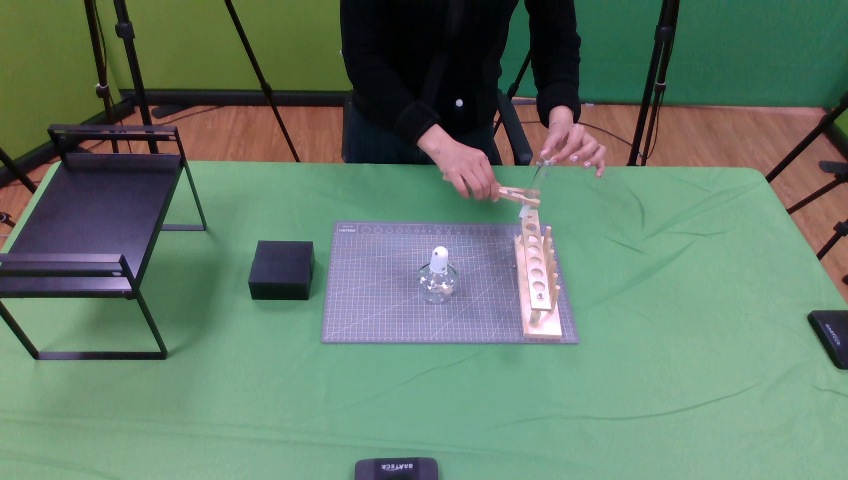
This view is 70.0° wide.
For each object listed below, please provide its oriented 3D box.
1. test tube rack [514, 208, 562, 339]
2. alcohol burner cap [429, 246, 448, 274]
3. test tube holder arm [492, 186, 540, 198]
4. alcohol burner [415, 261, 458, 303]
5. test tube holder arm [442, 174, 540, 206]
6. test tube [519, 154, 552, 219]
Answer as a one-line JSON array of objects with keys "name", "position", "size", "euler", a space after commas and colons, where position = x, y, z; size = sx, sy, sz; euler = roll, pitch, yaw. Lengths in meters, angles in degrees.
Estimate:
[{"name": "test tube rack", "position": [0.212, 0.056, 1.113], "size": [0.067, 0.085, 0.241], "euler": [3, 46, -1]}, {"name": "alcohol burner cap", "position": [0.027, 0.032, 1.052], "size": [0.034, 0.048, 0.033], "euler": [4, 41, -3]}, {"name": "test tube holder arm", "position": [0.164, -0.085, 1.088], "size": [0.088, 0.015, 0.010], "euler": [4, 50, -10]}, {"name": "alcohol burner", "position": [0.024, 0.057, 1.078], "size": [0.078, 0.119, 0.077], "euler": [3, 44, -2]}, {"name": "test tube holder arm", "position": [0.119, -0.089, 1.081], "size": [0.178, 0.015, 0.013], "euler": [13, 48, -2]}, {"name": "test tube", "position": [0.196, -0.091, 1.073], "size": [0.017, 0.151, 0.017], "euler": [7, 48, -7]}]
